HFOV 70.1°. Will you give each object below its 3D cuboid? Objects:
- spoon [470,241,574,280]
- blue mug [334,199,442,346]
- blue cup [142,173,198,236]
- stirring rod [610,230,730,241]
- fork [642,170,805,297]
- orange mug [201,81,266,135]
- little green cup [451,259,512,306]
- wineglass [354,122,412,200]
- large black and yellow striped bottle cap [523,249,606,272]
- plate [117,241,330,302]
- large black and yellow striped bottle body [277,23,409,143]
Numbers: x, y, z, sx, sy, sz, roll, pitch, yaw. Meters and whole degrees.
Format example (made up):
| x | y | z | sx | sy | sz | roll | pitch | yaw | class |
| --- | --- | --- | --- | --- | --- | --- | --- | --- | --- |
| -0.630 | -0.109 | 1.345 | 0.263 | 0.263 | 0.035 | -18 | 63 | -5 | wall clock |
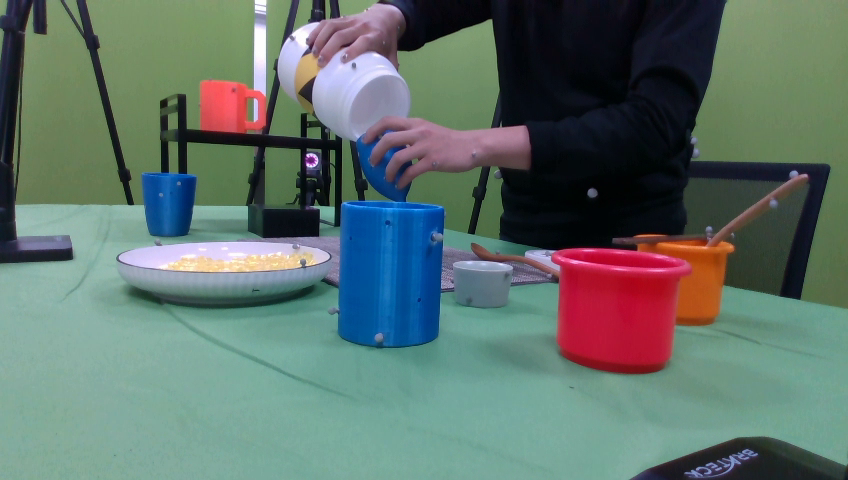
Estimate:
| x | y | z | sx | sy | sz | roll | pitch | yaw | class |
| --- | --- | --- | --- | --- | --- | --- | --- | --- | --- |
| 0.124 | 0.025 | 0.800 | 0.042 | 0.021 | 0.192 | 24 | -6 | -34 | spoon |
| -0.034 | 0.020 | 0.498 | 0.083 | 0.106 | 0.116 | 0 | 7 | -19 | blue mug |
| -0.425 | -0.060 | 1.014 | 0.093 | 0.100 | 0.092 | 4 | 9 | 0 | blue cup |
| 0.241 | -0.005 | 0.582 | 0.177 | 0.006 | 0.014 | -3 | 10 | -34 | stirring rod |
| 0.261 | 0.004 | 0.545 | 0.028 | 0.018 | 0.207 | 5 | -37 | -15 | fork |
| -0.377 | -0.260 | 1.198 | 0.126 | 0.101 | 0.083 | -3 | 8 | -6 | orange mug |
| 0.057 | 0.043 | 0.611 | 0.061 | 0.038 | 0.061 | 3 | 8 | 0 | little green cup |
| -0.039 | -0.073 | 0.843 | 0.074 | 0.172 | 0.074 | -21 | -11 | -4 | wineglass |
| 0.198 | 0.028 | 0.851 | 0.115 | 0.019 | 0.115 | 5 | 5 | 0 | large black and yellow striped bottle cap |
| -0.203 | 0.031 | 0.630 | 0.209 | 0.038 | 0.209 | 3 | 7 | 0 | plate |
| -0.119 | -0.231 | 0.900 | 0.131 | 0.130 | 0.183 | -5 | 36 | -45 | large black and yellow striped bottle body |
